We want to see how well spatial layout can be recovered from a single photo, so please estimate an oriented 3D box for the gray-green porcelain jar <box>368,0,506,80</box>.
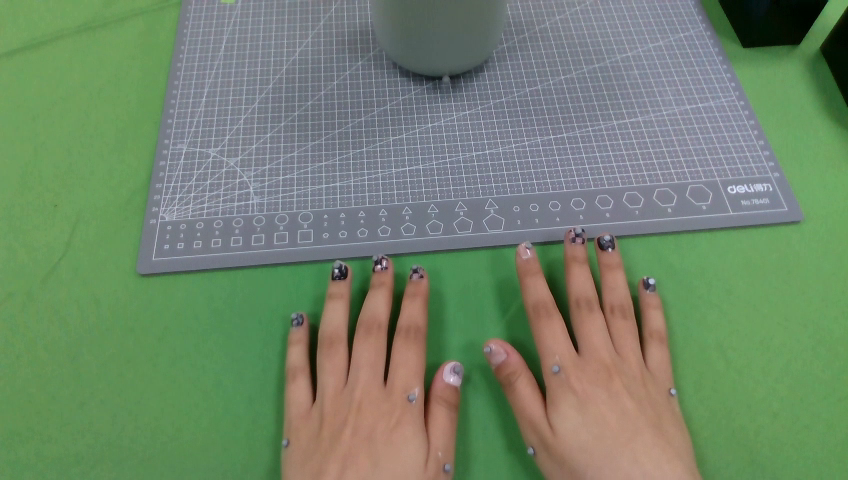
[{"bbox_3d":[0.010,-0.193,0.449,0.106,0.127,0.105,0,59,0],"label":"gray-green porcelain jar"}]
